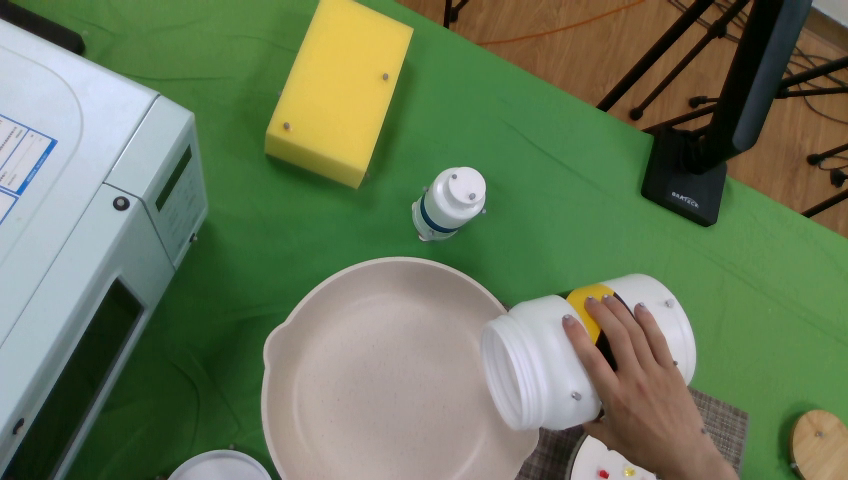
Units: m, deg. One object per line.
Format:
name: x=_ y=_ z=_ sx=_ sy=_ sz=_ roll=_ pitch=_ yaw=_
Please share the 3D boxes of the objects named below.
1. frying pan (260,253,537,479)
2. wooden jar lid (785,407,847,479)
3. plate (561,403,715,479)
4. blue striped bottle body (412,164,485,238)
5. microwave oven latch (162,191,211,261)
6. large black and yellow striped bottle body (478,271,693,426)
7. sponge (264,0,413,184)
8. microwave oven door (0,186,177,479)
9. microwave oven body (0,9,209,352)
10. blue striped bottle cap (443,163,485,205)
frying pan: x=-0.057 y=0.249 z=0.610 sx=0.308 sy=0.103 sz=0.485 roll=24 pitch=62 yaw=-8
wooden jar lid: x=0.541 y=0.286 z=0.834 sx=0.109 sy=0.021 sz=0.108 roll=4 pitch=76 yaw=-15
plate: x=0.254 y=0.303 z=0.727 sx=0.210 sy=0.038 sz=0.208 roll=4 pitch=75 yaw=-16
blue striped bottle body: x=0.030 y=-0.047 z=0.706 sx=0.063 sy=0.121 sz=0.062 roll=4 pitch=74 yaw=-16
microwave oven latch: x=-0.253 y=-0.019 z=0.636 sx=0.030 sy=0.029 sz=0.079 roll=28 pitch=70 yaw=-9
large black and yellow striped bottle body: x=0.159 y=0.113 z=0.620 sx=0.184 sy=0.131 sz=0.130 roll=-12 pitch=79 yaw=-14
sponge: x=-0.101 y=-0.187 z=0.734 sx=0.119 sy=0.061 sz=0.206 roll=20 pitch=72 yaw=-12
microwave oven door: x=-0.304 y=0.146 z=0.469 sx=0.039 sy=0.244 sz=0.354 roll=25 pitch=70 yaw=-9
microwave oven body: x=-0.421 y=0.049 z=0.463 sx=0.327 sy=0.260 sz=0.439 roll=25 pitch=71 yaw=-10
blue striped bottle cap: x=0.044 y=-0.061 z=0.659 sx=0.045 sy=0.020 sz=0.044 roll=4 pitch=76 yaw=-15
